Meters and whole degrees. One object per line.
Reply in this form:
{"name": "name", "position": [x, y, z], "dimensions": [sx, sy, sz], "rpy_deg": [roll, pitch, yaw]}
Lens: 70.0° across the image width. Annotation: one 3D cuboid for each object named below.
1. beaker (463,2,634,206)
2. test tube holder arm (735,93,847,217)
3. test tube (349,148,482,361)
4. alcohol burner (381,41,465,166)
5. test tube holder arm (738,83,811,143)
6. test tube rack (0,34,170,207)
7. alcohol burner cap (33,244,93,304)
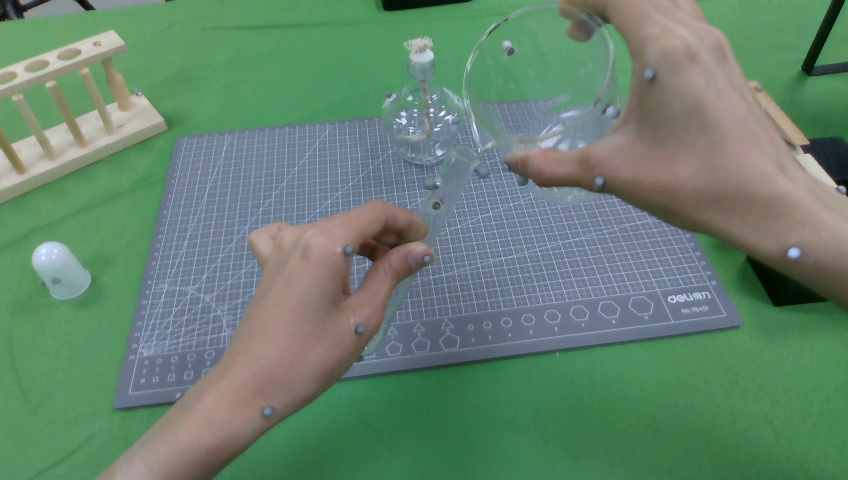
{"name": "beaker", "position": [0.071, -0.063, 0.330], "dimensions": [0.073, 0.101, 0.084], "rpy_deg": [39, 94, 30]}
{"name": "test tube holder arm", "position": [0.297, -0.069, 0.480], "dimensions": [0.015, 0.013, 0.176], "rpy_deg": [-3, 45, -9]}
{"name": "test tube", "position": [-0.009, 0.015, 0.331], "dimensions": [0.017, 0.151, 0.017], "rpy_deg": [21, 32, -13]}
{"name": "alcohol burner", "position": [-0.001, -0.126, 0.546], "dimensions": [0.078, 0.120, 0.077], "rpy_deg": [0, 49, 1]}
{"name": "test tube holder arm", "position": [0.292, -0.104, 0.507], "dimensions": [0.015, 0.010, 0.087], "rpy_deg": [-3, 46, -9]}
{"name": "test tube rack", "position": [-0.378, -0.099, 0.563], "dimensions": [0.242, 0.086, 0.066], "rpy_deg": [-31, 54, -23]}
{"name": "alcohol burner cap", "position": [-0.288, 0.024, 0.479], "dimensions": [0.034, 0.048, 0.033], "rpy_deg": [-1, 48, 2]}
